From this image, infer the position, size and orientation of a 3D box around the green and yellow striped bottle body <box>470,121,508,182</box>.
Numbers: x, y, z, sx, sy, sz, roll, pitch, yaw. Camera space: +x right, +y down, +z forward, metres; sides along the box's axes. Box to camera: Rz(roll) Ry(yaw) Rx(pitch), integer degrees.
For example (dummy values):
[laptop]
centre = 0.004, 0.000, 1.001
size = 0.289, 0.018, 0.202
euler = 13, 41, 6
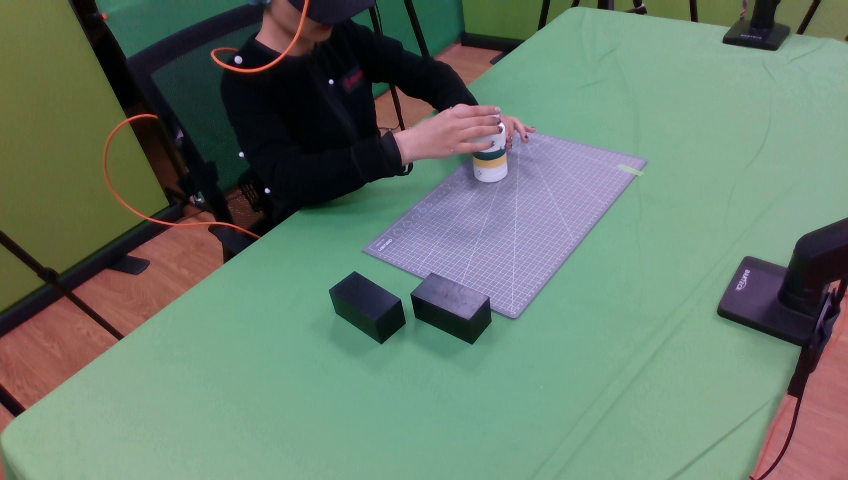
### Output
[green and yellow striped bottle body]
centre = 0.117, -0.169, 1.079
size = 0.063, 0.120, 0.063
euler = -6, 40, 5

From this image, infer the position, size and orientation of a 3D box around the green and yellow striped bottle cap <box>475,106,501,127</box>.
[green and yellow striped bottle cap]
centre = 0.110, -0.213, 1.041
size = 0.045, 0.020, 0.045
euler = -8, 38, 7
